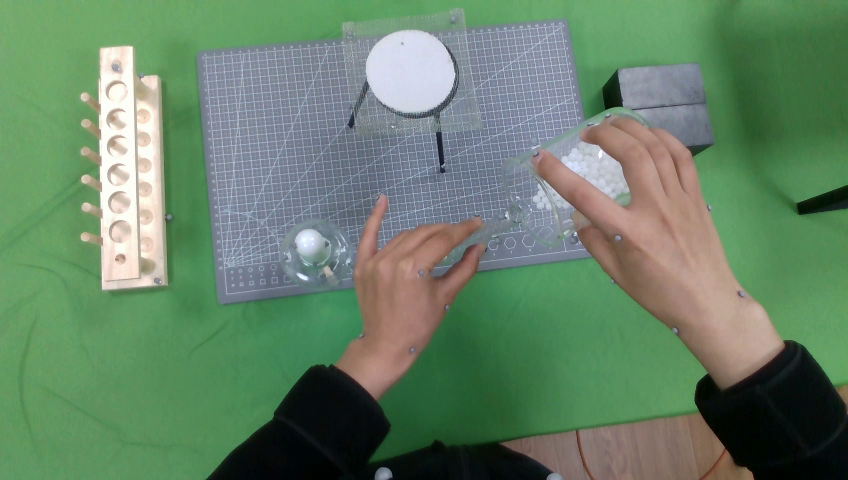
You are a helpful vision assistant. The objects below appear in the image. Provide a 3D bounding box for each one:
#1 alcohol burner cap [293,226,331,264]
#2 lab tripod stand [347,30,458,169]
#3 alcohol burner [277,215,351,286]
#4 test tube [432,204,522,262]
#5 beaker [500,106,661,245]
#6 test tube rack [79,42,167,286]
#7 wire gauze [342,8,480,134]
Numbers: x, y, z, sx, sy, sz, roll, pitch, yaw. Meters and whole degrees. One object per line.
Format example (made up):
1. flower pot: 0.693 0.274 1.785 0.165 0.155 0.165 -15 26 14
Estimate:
1. alcohol burner cap: -0.113 0.004 0.597 0.034 0.048 0.033 0 76 1
2. lab tripod stand: -0.015 -0.158 0.656 0.148 0.132 0.148 1 79 -3
3. alcohol burner: -0.116 0.008 0.633 0.078 0.119 0.077 1 80 -6
4. test tube: 0.043 -0.003 0.550 0.017 0.150 0.017 7 72 -23
5. beaker: 0.118 -0.050 0.457 0.100 0.084 0.074 -28 84 -11
6. test tube rack: -0.325 -0.077 0.646 0.067 0.085 0.241 -5 82 -5
7. wire gauze: -0.013 -0.164 0.589 0.125 0.011 0.121 -6 82 -5
